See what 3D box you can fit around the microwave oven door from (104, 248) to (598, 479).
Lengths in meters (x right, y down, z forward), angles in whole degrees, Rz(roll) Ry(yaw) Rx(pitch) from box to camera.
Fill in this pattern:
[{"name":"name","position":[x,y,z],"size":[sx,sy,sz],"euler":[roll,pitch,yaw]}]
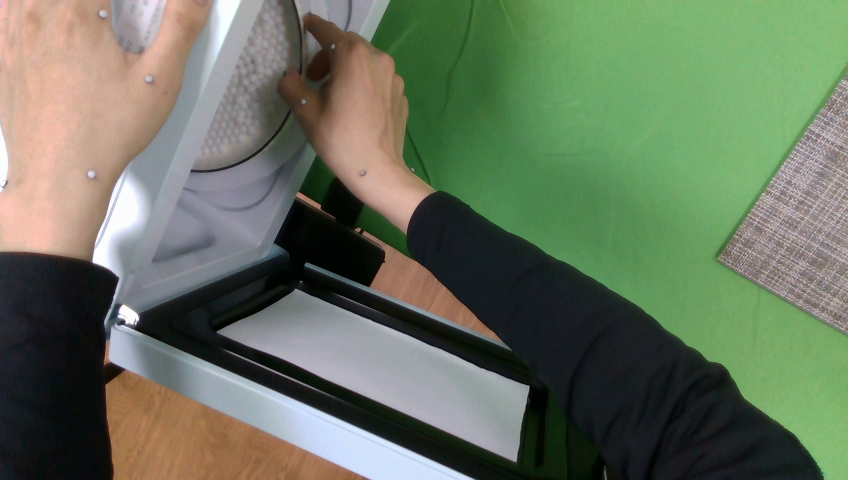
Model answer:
[{"name":"microwave oven door","position":[-0.027,0.108,0.495],"size":[0.355,0.243,0.039],"euler":[21,104,7]}]

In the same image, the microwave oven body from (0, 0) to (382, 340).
[{"name":"microwave oven body","position":[-0.204,-0.205,0.478],"size":[0.325,0.260,0.442],"euler":[31,106,5]}]

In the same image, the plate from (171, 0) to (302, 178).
[{"name":"plate","position":[-0.201,-0.161,0.532],"size":[0.209,0.038,0.209],"euler":[2,102,11]}]
